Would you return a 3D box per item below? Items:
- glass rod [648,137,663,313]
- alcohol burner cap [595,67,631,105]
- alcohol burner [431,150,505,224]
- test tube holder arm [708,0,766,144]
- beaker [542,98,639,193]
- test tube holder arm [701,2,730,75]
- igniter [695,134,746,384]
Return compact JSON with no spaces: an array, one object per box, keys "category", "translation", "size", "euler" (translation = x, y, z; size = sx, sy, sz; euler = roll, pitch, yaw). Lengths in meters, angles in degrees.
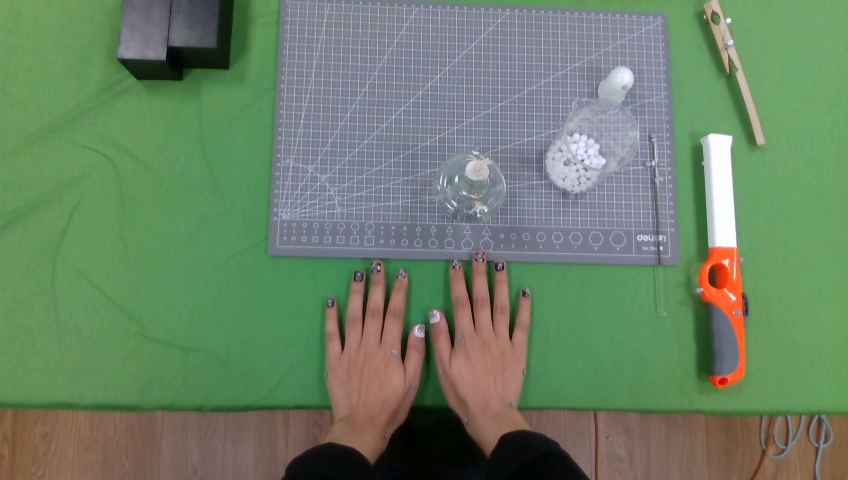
[{"category":"glass rod","translation":[0.257,-0.019,0.675],"size":[0.008,0.008,0.199],"euler":[1,81,-3]},{"category":"alcohol burner cap","translation":[0.215,-0.175,0.679],"size":[0.034,0.048,0.033],"euler":[0,81,-3]},{"category":"alcohol burner","translation":[0.046,-0.059,0.615],"size":[0.078,0.119,0.077],"euler":[1,78,-2]},{"category":"test tube holder arm","translation":[0.363,-0.196,0.704],"size":[0.013,0.015,0.178],"euler":[-22,82,28]},{"category":"beaker","translation":[0.167,-0.096,0.635],"size":[0.074,0.100,0.083],"euler":[-31,83,-8]},{"category":"test tube holder arm","translation":[0.345,-0.237,0.712],"size":[0.010,0.015,0.087],"euler":[-21,83,28]},{"category":"igniter","translation":[0.324,0.018,0.666],"size":[0.057,0.025,0.275],"euler":[3,81,-13]}]
